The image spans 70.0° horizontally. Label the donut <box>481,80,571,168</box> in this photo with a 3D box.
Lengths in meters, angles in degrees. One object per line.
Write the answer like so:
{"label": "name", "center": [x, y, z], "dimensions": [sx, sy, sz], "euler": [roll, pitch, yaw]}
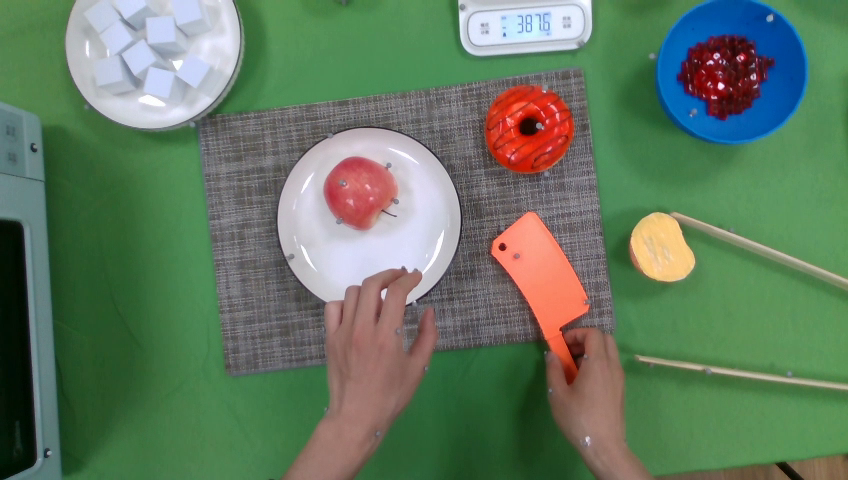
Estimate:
{"label": "donut", "center": [0.111, -0.128, 0.670], "dimensions": [0.099, 0.048, 0.099], "euler": [0, 90, 5]}

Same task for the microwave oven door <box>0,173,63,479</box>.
{"label": "microwave oven door", "center": [-0.453, 0.104, 0.583], "dimensions": [0.039, 0.244, 0.355], "euler": [-5, 88, 4]}

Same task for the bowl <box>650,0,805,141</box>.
{"label": "bowl", "center": [0.309, -0.174, 0.647], "dimensions": [0.151, 0.077, 0.151], "euler": [0, 89, 3]}

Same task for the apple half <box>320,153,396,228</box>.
{"label": "apple half", "center": [-0.076, -0.058, 0.666], "dimensions": [0.081, 0.053, 0.074], "euler": [-44, 83, 1]}

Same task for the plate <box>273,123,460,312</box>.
{"label": "plate", "center": [-0.063, -0.025, 0.681], "dimensions": [0.209, 0.038, 0.209], "euler": [0, 89, 3]}

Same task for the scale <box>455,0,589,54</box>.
{"label": "scale", "center": [0.108, -0.317, 0.683], "dimensions": [0.148, 0.031, 0.200], "euler": [-3, 89, 4]}

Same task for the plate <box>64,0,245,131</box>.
{"label": "plate", "center": [-0.306, -0.227, 0.702], "dimensions": [0.207, 0.039, 0.207], "euler": [0, 89, 3]}

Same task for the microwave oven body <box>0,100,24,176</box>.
{"label": "microwave oven body", "center": [-0.601, 0.073, 0.597], "dimensions": [0.326, 0.260, 0.441], "euler": [-5, 89, 3]}

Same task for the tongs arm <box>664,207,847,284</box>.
{"label": "tongs arm", "center": [0.443, 0.045, 0.660], "dimensions": [0.387, 0.028, 0.028], "euler": [23, 82, 3]}

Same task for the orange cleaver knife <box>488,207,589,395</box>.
{"label": "orange cleaver knife", "center": [0.142, 0.067, 0.676], "dimensions": [0.077, 0.012, 0.211], "euler": [-26, 85, -1]}

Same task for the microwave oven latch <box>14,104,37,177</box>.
{"label": "microwave oven latch", "center": [-0.462, -0.112, 0.689], "dimensions": [0.030, 0.029, 0.079], "euler": [-2, 89, 3]}

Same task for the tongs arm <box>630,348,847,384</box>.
{"label": "tongs arm", "center": [0.422, 0.129, 0.656], "dimensions": [0.385, 0.026, 0.050], "euler": [9, 85, 3]}

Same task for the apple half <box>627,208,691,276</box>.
{"label": "apple half", "center": [0.249, 0.007, 0.665], "dimensions": [0.081, 0.033, 0.081], "euler": [6, 70, -17]}
